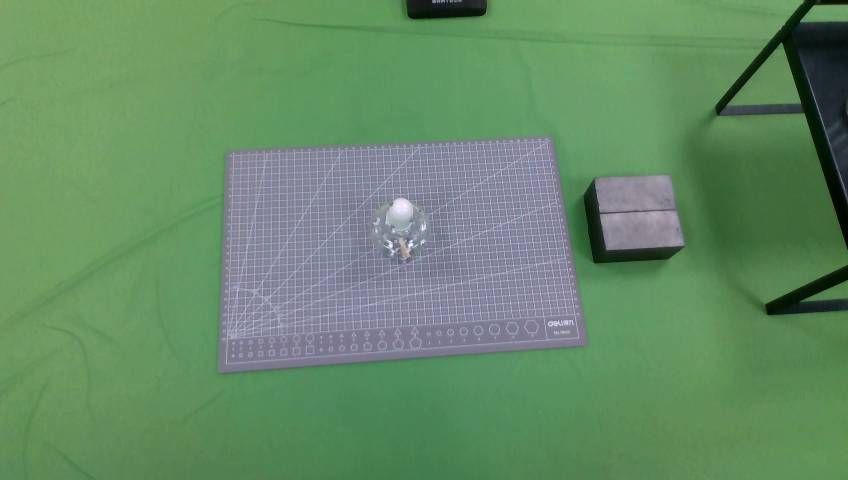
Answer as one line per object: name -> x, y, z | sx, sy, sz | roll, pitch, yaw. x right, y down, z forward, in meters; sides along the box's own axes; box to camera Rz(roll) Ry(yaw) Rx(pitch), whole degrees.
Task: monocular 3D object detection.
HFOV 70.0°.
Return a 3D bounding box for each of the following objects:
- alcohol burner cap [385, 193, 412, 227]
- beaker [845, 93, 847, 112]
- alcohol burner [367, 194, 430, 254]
alcohol burner cap -> -0.028, -0.037, 0.702 | 0.034, 0.048, 0.033 | 2, 74, -5
beaker -> 0.503, -0.162, 0.632 | 0.084, 0.101, 0.073 | -16, 71, -8
alcohol burner -> -0.030, -0.026, 0.736 | 0.078, 0.119, 0.077 | 2, 70, -4
